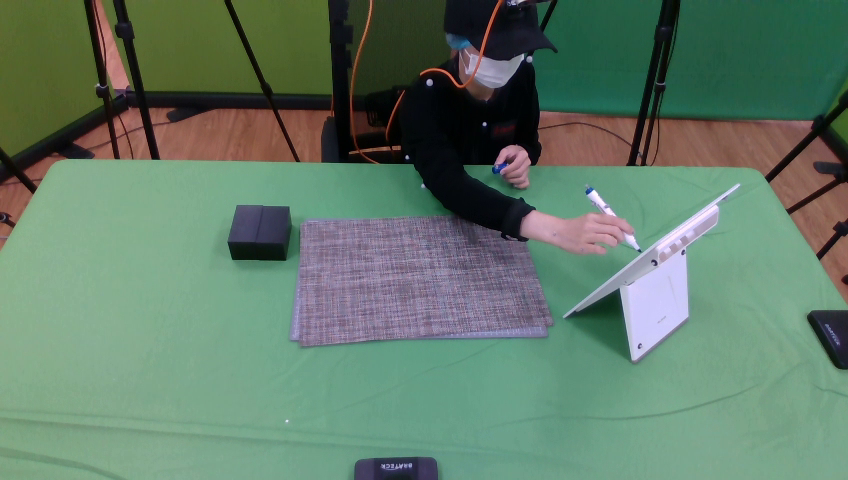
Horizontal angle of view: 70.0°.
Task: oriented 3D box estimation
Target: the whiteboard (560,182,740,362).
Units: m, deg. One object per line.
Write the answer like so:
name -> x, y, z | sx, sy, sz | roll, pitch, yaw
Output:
whiteboard -> 0.406, 0.075, 1.001 | 0.217, 0.306, 0.143 | -28, 73, -28

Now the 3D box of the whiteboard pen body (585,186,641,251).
whiteboard pen body -> 0.321, -0.034, 1.020 | 0.141, 0.017, 0.017 | 49, 54, -4

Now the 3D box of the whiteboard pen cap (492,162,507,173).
whiteboard pen cap -> 0.161, -0.156, 1.303 | 0.033, 0.018, 0.018 | -20, 51, -15
